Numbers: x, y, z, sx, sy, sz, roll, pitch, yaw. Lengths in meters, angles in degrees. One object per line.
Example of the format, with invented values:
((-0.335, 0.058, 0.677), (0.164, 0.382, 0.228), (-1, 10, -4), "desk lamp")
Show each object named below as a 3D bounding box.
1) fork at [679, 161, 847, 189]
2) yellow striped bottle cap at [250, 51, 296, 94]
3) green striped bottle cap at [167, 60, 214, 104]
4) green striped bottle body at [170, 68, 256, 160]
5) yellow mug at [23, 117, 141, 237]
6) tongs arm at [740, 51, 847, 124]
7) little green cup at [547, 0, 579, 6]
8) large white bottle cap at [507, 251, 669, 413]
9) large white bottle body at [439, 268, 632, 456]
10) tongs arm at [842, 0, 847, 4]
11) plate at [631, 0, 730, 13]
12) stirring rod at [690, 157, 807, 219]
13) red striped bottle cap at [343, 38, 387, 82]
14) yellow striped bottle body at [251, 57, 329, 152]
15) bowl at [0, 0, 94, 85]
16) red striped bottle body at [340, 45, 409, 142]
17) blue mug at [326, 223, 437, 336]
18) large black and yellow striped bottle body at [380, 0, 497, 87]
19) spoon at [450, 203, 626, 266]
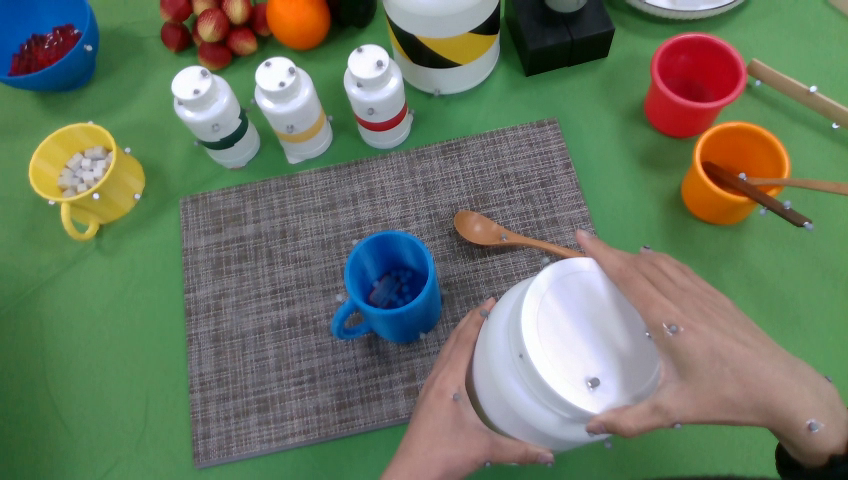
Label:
((0.339, -0.059, 0.581), (0.028, 0.019, 0.205), (-50, 29, -14), "fork")
((-0.155, -0.172, 0.623), (0.044, 0.019, 0.044), (0, 64, 1), "yellow striped bottle cap")
((-0.242, -0.164, 0.627), (0.044, 0.020, 0.044), (-1, 67, 3), "green striped bottle cap")
((-0.236, -0.144, 0.675), (0.063, 0.120, 0.062), (-1, 68, 4), "green striped bottle body")
((-0.387, -0.067, 0.685), (0.100, 0.064, 0.130), (-3, 69, 3), "yellow mug")
((0.526, -0.113, 0.648), (0.382, 0.027, 0.050), (38, 72, 16), "tongs arm")
((0.161, -0.302, 0.694), (0.061, 0.039, 0.061), (-1, 66, 2), "little green cup")
((0.115, 0.061, 0.422), (0.115, 0.018, 0.114), (5, 64, -11), "large white bottle cap")
((0.096, 0.100, 0.500), (0.131, 0.185, 0.129), (7, 62, -13), "large white bottle body")
((0.593, -0.171, 0.668), (0.028, 0.028, 0.384), (-30, 69, -15), "tongs arm")
((0.316, -0.366, 0.762), (0.209, 0.038, 0.207), (-1, 69, 4), "plate")
((0.309, -0.054, 0.589), (0.014, 0.006, 0.174), (-11, 25, -2), "stirring rod")
((-0.060, -0.185, 0.620), (0.044, 0.018, 0.044), (0, 66, 1), "red striped bottle cap")
((-0.149, -0.154, 0.671), (0.063, 0.121, 0.062), (-2, 68, 5), "yellow striped bottle body")
((-0.475, -0.249, 0.757), (0.151, 0.077, 0.150), (-1, 69, 4), "bowl")
((-0.055, -0.164, 0.668), (0.063, 0.120, 0.062), (-3, 67, 7), "red striped bottle body")
((-0.044, 0.051, 0.587), (0.116, 0.106, 0.082), (-36, 70, -9), "blue mug")
((0.015, -0.274, 0.671), (0.131, 0.185, 0.130), (-2, 68, 4), "large black and yellow striped bottle body")
((0.119, 0.001, 0.639), (0.193, 0.022, 0.041), (17, 50, 10), "spoon")
